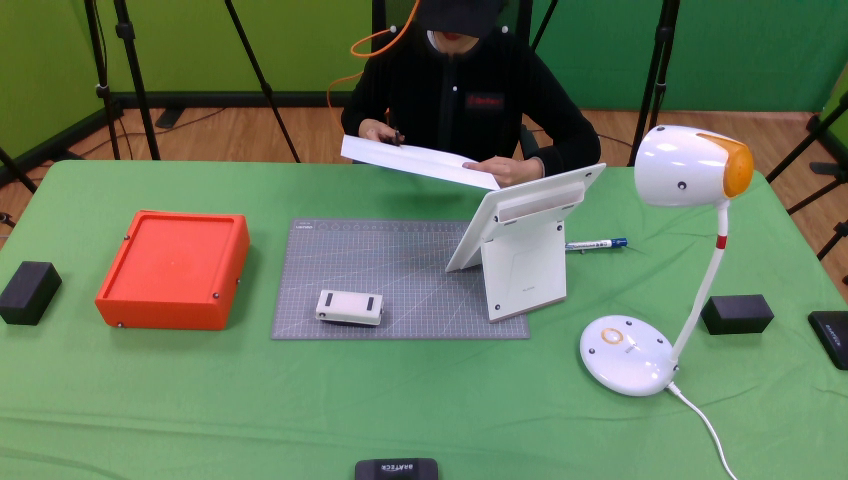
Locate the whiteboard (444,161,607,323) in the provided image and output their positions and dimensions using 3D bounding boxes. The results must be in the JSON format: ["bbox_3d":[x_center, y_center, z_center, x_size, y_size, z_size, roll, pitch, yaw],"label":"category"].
[{"bbox_3d":[0.186,0.025,1.029,0.217,0.306,0.143,-14,68,-18],"label":"whiteboard"}]

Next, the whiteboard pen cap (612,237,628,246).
[{"bbox_3d":[0.390,0.004,1.215,0.033,0.018,0.018,-7,47,-2],"label":"whiteboard pen cap"}]

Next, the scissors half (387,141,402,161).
[{"bbox_3d":[-0.062,-0.195,1.305,0.013,0.040,0.175,8,1,-12],"label":"scissors half"}]

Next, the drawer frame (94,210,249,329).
[{"bbox_3d":[-0.434,0.048,1.076,0.202,0.083,0.212,2,47,-3],"label":"drawer frame"}]

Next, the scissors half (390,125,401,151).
[{"bbox_3d":[-0.057,-0.215,1.300,0.013,0.040,0.174,13,22,-13],"label":"scissors half"}]

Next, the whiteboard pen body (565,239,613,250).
[{"bbox_3d":[0.331,0.008,1.211,0.141,0.017,0.017,-5,47,-4],"label":"whiteboard pen body"}]

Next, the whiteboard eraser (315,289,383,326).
[{"bbox_3d":[-0.130,0.119,1.054,0.113,0.042,0.055,6,47,1],"label":"whiteboard eraser"}]

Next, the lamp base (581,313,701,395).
[{"bbox_3d":[0.361,0.144,0.972,0.178,0.181,0.160,34,53,23],"label":"lamp base"}]

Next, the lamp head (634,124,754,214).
[{"bbox_3d":[0.351,-0.089,0.776,0.112,0.113,0.122,-30,30,-28],"label":"lamp head"}]

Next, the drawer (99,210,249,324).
[{"bbox_3d":[-0.435,0.044,1.081,0.194,0.073,0.210,3,47,-2],"label":"drawer"}]
